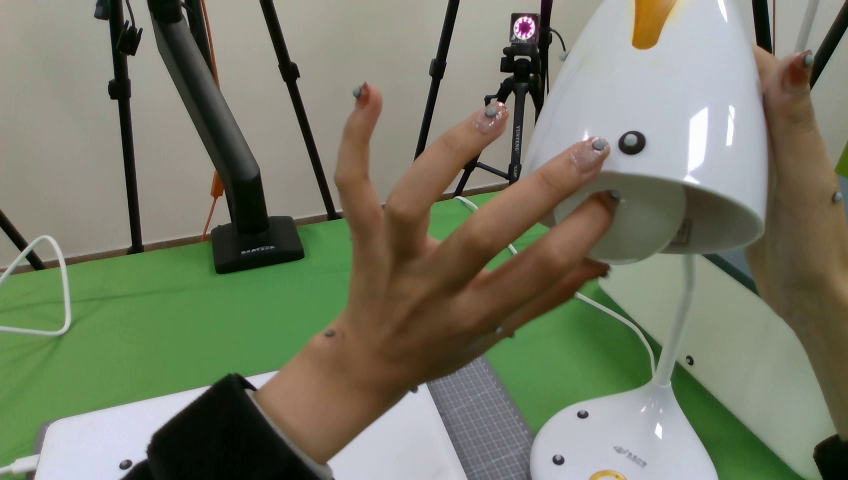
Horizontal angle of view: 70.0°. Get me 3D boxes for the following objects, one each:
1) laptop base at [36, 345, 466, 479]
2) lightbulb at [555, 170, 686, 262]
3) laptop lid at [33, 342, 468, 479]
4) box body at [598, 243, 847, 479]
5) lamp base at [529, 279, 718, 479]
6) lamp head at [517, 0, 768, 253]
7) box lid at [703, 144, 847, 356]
[{"bbox_3d":[-0.151,0.208,0.531,0.355,0.023,0.233,-10,36,-15],"label":"laptop base"},{"bbox_3d":[0.100,-0.042,0.293,0.059,0.107,0.059,16,-6,2],"label":"lightbulb"},{"bbox_3d":[-0.150,0.198,0.523,0.357,0.013,0.239,-9,34,-14],"label":"laptop lid"},{"bbox_3d":[0.385,0.050,0.646,0.255,0.161,0.360,-11,33,-17],"label":"box body"},{"bbox_3d":[0.179,0.129,0.498,0.159,0.181,0.179,17,32,26],"label":"lamp base"},{"bbox_3d":[0.113,-0.062,0.299,0.112,0.113,0.122,11,72,19],"label":"lamp head"},{"bbox_3d":[0.384,-0.015,0.609,0.264,0.015,0.367,-10,33,-17],"label":"box lid"}]
